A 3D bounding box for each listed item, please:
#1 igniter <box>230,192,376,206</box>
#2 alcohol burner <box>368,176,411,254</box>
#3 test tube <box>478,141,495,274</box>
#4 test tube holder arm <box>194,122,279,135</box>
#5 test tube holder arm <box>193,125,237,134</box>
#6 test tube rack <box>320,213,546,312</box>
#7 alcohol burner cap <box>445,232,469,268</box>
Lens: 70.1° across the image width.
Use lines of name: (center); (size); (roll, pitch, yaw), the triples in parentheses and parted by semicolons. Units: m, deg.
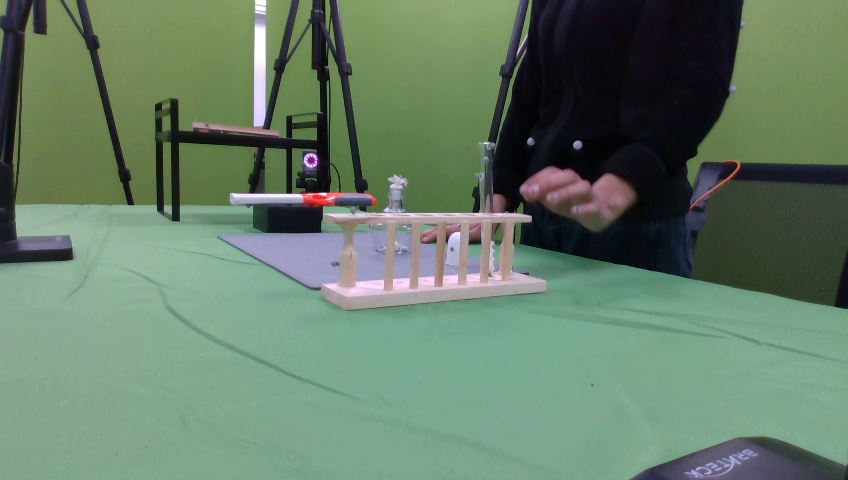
igniter: (-0.226, -0.079, 1.161); (0.278, 0.025, 0.057); (-2, 17, -28)
alcohol burner: (-0.045, -0.038, 0.913); (0.078, 0.119, 0.078); (4, 7, 0)
test tube: (0.071, -0.036, 0.683); (0.017, 0.150, 0.017); (-2, 8, 1)
test tube holder arm: (-0.401, -0.238, 1.301); (0.179, 0.015, 0.013); (-2, -20, -29)
test tube holder arm: (-0.443, -0.235, 1.284); (0.088, 0.015, 0.010); (-2, -20, -28)
test tube rack: (0.018, 0.017, 0.638); (0.244, 0.085, 0.066); (-2, 9, -31)
alcohol burner cap: (0.045, 0.013, 0.829); (0.034, 0.048, 0.034); (2, 8, 0)
